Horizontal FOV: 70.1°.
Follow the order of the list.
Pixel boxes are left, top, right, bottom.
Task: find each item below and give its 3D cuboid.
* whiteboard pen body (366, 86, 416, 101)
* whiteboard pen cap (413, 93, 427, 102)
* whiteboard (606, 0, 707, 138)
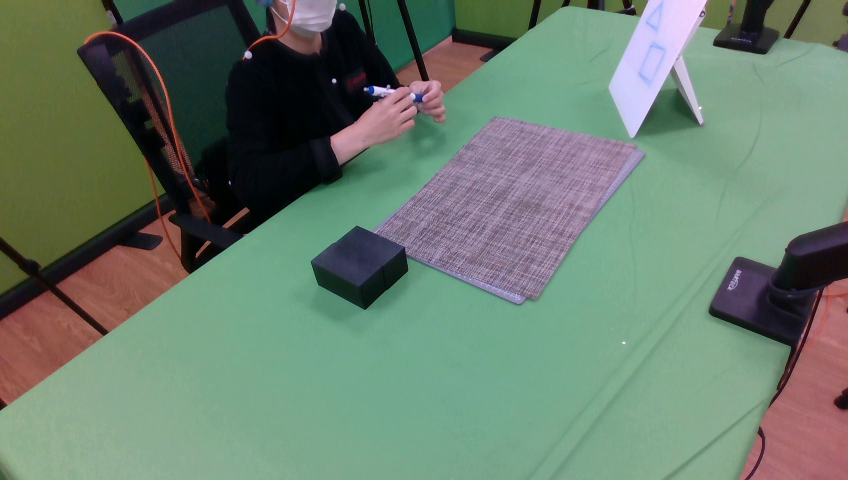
[{"bbox_3d":[-0.053,-0.272,1.131,0.017,0.017,0.142,29,22,35],"label":"whiteboard pen body"},{"bbox_3d":[-0.010,-0.279,1.178,0.018,0.018,0.033,29,28,35],"label":"whiteboard pen cap"},{"bbox_3d":[0.496,-0.359,1.147,0.144,0.305,0.216,11,40,-7],"label":"whiteboard"}]
